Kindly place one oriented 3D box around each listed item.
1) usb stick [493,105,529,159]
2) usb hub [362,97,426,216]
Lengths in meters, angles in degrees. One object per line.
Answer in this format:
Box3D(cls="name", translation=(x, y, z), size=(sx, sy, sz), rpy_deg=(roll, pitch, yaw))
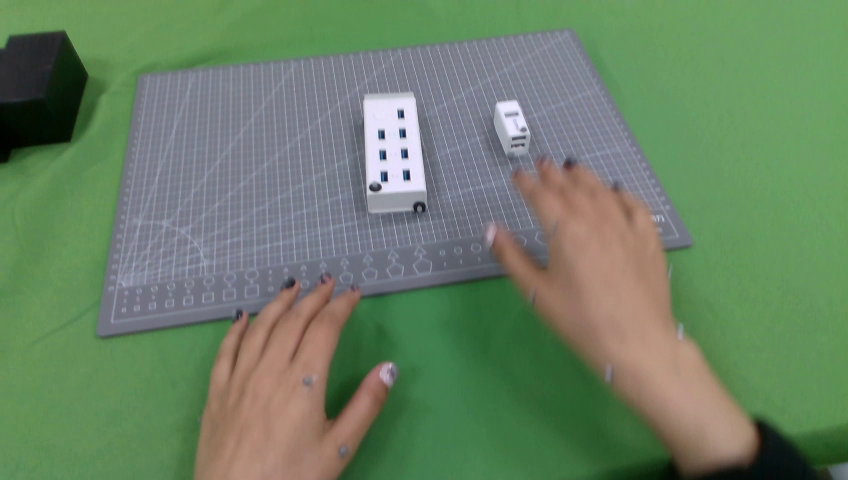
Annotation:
Box3D(cls="usb stick", translation=(0.076, -0.102, 0.545), size=(0.021, 0.027, 0.058), rpy_deg=(-9, 50, -6))
Box3D(cls="usb hub", translation=(-0.028, -0.076, 0.525), size=(0.049, 0.025, 0.124), rpy_deg=(-4, 52, -3))
